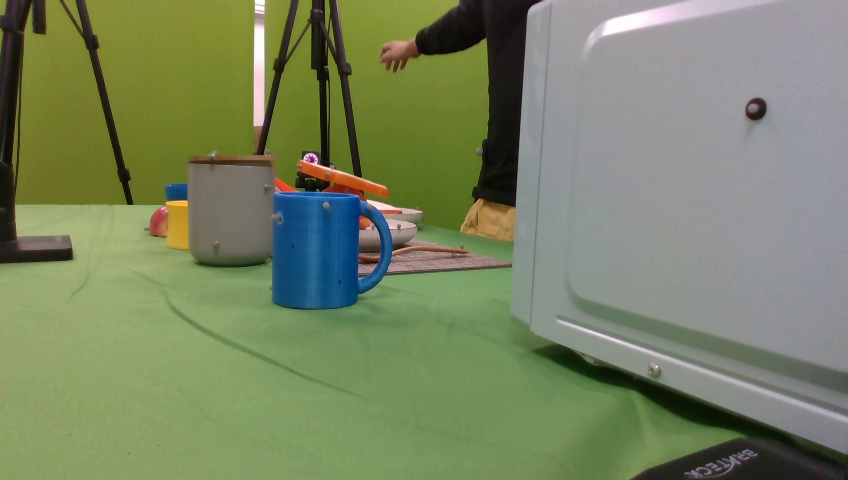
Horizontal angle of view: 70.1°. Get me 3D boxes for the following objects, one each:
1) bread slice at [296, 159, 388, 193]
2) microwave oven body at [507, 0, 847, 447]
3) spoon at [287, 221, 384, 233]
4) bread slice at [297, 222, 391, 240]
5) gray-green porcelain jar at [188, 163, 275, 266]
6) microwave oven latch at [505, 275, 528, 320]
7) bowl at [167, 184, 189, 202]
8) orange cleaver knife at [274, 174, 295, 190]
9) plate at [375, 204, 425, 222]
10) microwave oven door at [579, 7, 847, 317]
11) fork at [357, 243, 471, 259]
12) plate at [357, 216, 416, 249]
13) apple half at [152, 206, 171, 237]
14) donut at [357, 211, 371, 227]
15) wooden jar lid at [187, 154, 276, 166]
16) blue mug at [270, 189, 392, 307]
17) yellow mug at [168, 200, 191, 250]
[{"bbox_3d":[-0.132,-0.102,0.952,0.132,0.019,0.104,12,6,-36],"label":"bread slice"},{"bbox_3d":[0.331,-0.042,0.425,0.444,0.260,0.324,-2,8,-31],"label":"microwave oven body"},{"bbox_3d":[-0.157,-0.027,1.110,0.195,0.021,0.041,-4,-14,-35],"label":"spoon"},{"bbox_3d":[-0.121,-0.015,0.969,0.106,0.018,0.135,10,8,40],"label":"bread slice"},{"bbox_3d":[-0.246,-0.034,0.780,0.106,0.126,0.106,1,7,0],"label":"gray-green porcelain jar"},{"bbox_3d":[0.100,0.042,0.471,0.079,0.029,0.030,-1,7,-28],"label":"microwave oven latch"},{"bbox_3d":[-0.408,-0.064,1.154,0.151,0.077,0.151,2,8,0],"label":"bowl"},{"bbox_3d":[-0.283,-0.087,1.343,0.212,0.077,0.012,24,-16,-41],"label":"orange cleaver knife"},{"bbox_3d":[-0.102,-0.053,1.299,0.209,0.038,0.209,2,8,0],"label":"plate"},{"bbox_3d":[0.294,-0.067,0.570,0.358,0.243,0.039,-3,9,-31],"label":"microwave oven door"},{"bbox_3d":[-0.017,0.014,0.845,0.208,0.018,0.028,-5,-3,-35],"label":"fork"},{"bbox_3d":[-0.116,-0.014,0.967,0.208,0.039,0.207,2,7,0],"label":"plate"},{"bbox_3d":[-0.415,-0.034,1.017,0.081,0.053,0.074,1,10,-8],"label":"apple half"},{"bbox_3d":[-0.129,-0.041,0.956,0.099,0.048,0.099,2,7,0],"label":"donut"},{"bbox_3d":[-0.244,-0.097,0.771,0.108,0.020,0.108,-1,7,0],"label":"wooden jar lid"},{"bbox_3d":[-0.090,0.005,0.588,0.117,0.106,0.082,1,7,-11],"label":"blue mug"},{"bbox_3d":[-0.320,-0.023,0.904,0.130,0.064,0.100,8,10,36],"label":"yellow mug"}]
